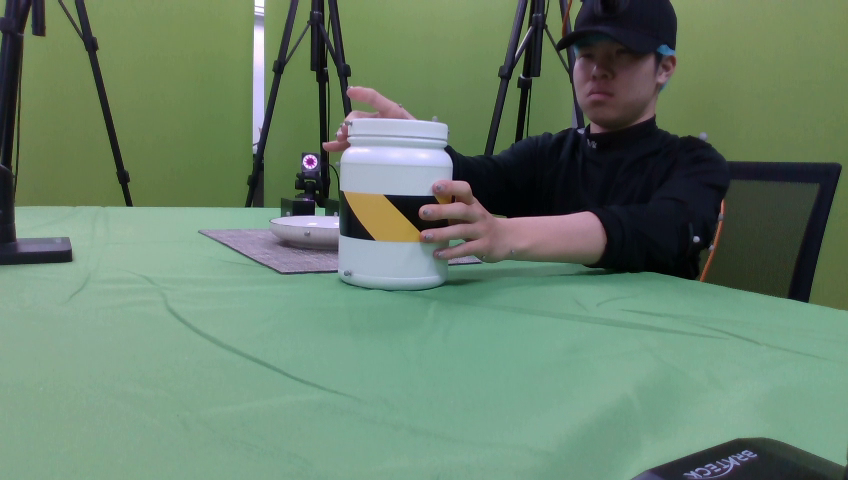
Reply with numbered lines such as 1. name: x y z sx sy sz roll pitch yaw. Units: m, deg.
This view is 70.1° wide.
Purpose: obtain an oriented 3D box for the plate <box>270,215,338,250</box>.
1. plate: -0.145 -0.013 0.991 0.208 0.039 0.207 2 7 0

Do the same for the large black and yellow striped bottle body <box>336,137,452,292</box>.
1. large black and yellow striped bottle body: -0.034 -0.041 0.702 0.131 0.184 0.130 3 7 0

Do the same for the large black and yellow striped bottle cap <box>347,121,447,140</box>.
1. large black and yellow striped bottle cap: -0.031 -0.124 0.691 0.115 0.019 0.115 1 8 0
